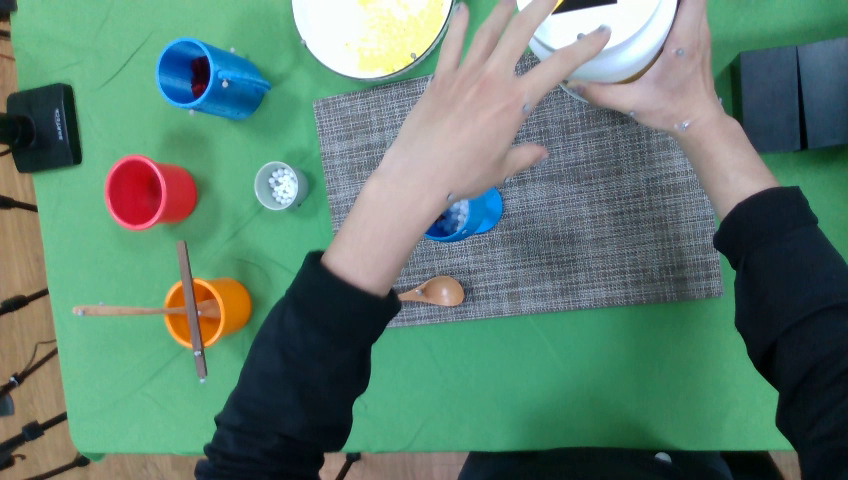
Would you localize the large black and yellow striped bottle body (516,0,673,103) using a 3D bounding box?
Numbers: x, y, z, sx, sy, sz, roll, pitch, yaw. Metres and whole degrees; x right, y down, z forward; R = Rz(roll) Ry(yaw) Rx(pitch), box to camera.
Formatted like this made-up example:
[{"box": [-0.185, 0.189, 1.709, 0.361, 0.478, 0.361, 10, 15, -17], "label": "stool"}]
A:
[{"box": [0.158, -0.205, 0.553, 0.130, 0.184, 0.131, 1, 93, 21], "label": "large black and yellow striped bottle body"}]

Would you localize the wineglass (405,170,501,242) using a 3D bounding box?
[{"box": [0.036, -0.036, 0.646, 0.073, 0.172, 0.074, 1, 94, 16], "label": "wineglass"}]

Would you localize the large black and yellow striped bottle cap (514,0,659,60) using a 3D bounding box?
[{"box": [0.126, -0.202, 0.475, 0.114, 0.019, 0.115, 0, 92, 22], "label": "large black and yellow striped bottle cap"}]

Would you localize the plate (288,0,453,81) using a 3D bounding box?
[{"box": [-0.063, -0.295, 0.727, 0.208, 0.038, 0.209, 1, 95, 16], "label": "plate"}]

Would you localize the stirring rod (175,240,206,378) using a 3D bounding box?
[{"box": [-0.295, 0.086, 0.764, 0.014, 0.006, 0.176, -8, 92, 17], "label": "stirring rod"}]

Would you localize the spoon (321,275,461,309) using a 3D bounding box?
[{"box": [-0.045, 0.071, 0.756, 0.193, 0.021, 0.042, -9, 113, 17], "label": "spoon"}]

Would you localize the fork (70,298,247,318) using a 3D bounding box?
[{"box": [-0.336, 0.089, 0.778, 0.208, 0.018, 0.028, 2, 103, -28], "label": "fork"}]

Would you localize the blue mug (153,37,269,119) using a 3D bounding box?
[{"box": [-0.253, -0.198, 0.754, 0.116, 0.106, 0.082, 6, 96, 15], "label": "blue mug"}]

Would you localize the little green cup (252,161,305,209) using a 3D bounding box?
[{"box": [-0.185, -0.070, 0.780, 0.061, 0.039, 0.061, 1, 95, 17], "label": "little green cup"}]
